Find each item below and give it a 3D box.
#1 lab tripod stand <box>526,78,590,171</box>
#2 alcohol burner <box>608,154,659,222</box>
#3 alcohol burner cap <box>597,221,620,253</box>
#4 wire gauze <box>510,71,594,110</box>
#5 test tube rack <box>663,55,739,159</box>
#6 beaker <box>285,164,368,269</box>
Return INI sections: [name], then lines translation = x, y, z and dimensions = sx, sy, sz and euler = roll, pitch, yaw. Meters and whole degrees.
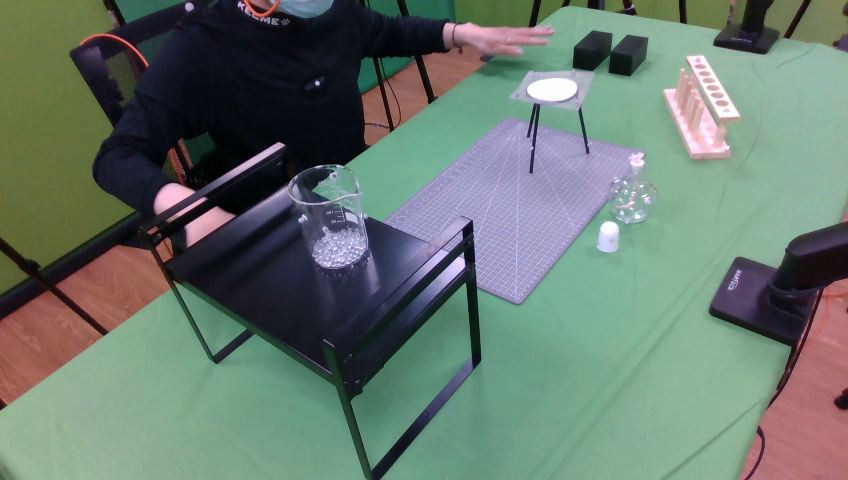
[lab tripod stand]
translation = 0.228, -0.216, 1.097
dimensions = 0.148, 0.132, 0.147
euler = -6, 40, 5
[alcohol burner]
translation = 0.333, -0.087, 0.954
dimensions = 0.078, 0.119, 0.077
euler = -3, 42, 3
[alcohol burner cap]
translation = 0.283, -0.007, 0.924
dimensions = 0.034, 0.048, 0.033
euler = -4, 39, 4
[wire gauze]
translation = 0.224, -0.267, 1.054
dimensions = 0.124, 0.011, 0.121
euler = 12, 44, 23
[test tube rack]
translation = 0.518, -0.256, 1.144
dimensions = 0.066, 0.085, 0.241
euler = -1, 41, 8
[beaker]
translation = -0.102, -0.024, 0.676
dimensions = 0.083, 0.101, 0.074
euler = 8, 43, 16
